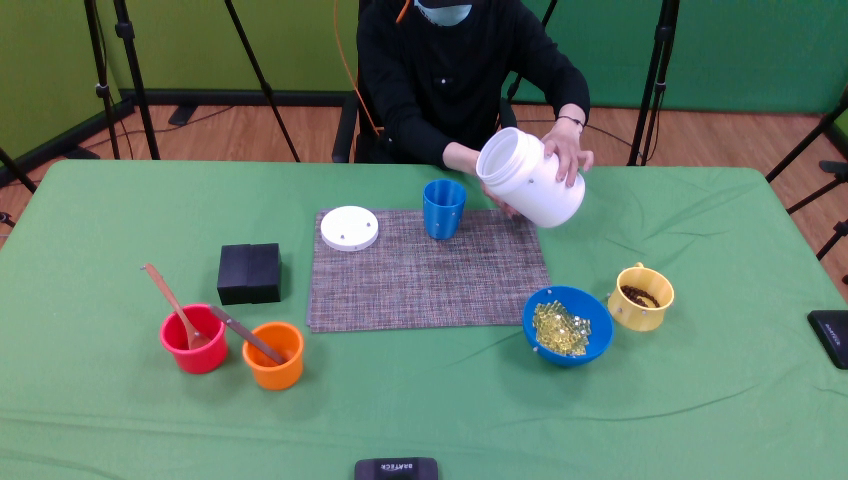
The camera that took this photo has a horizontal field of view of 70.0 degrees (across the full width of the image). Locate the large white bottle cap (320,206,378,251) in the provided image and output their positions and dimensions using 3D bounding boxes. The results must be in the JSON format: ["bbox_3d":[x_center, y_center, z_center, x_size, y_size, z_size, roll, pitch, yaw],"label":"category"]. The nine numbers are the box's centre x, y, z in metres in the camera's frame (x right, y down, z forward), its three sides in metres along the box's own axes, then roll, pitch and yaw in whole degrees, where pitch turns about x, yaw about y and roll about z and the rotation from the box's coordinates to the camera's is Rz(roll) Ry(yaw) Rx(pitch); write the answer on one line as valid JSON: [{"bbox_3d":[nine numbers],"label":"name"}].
[{"bbox_3d":[-0.150,-0.024,1.207,0.115,0.018,0.114,2,46,-2],"label":"large white bottle cap"}]

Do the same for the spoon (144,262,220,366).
[{"bbox_3d":[-0.389,0.118,0.971,0.041,0.021,0.194,-34,101,-32],"label":"spoon"}]

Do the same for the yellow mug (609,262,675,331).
[{"bbox_3d":[0.393,0.094,1.103,0.100,0.064,0.130,7,45,4],"label":"yellow mug"}]

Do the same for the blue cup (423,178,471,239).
[{"bbox_3d":[0.036,-0.056,1.192,0.093,0.101,0.092,3,45,-3],"label":"blue cup"}]

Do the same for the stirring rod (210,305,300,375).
[{"bbox_3d":[-0.262,0.158,0.946,0.177,0.006,0.014,43,43,-21],"label":"stirring rod"}]

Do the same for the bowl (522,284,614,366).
[{"bbox_3d":[0.235,0.158,1.022,0.151,0.077,0.150,2,46,-2],"label":"bowl"}]

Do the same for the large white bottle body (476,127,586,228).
[{"bbox_3d":[0.199,-0.119,1.141,0.185,0.130,0.130,31,38,-29],"label":"large white bottle body"}]
